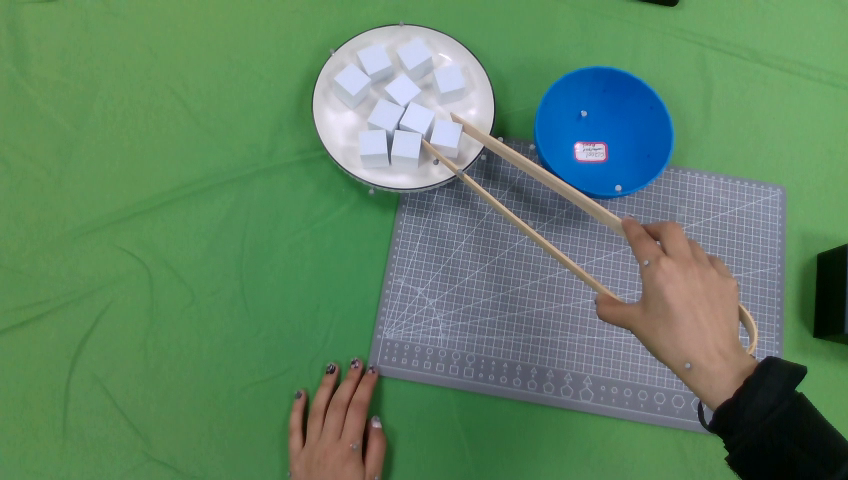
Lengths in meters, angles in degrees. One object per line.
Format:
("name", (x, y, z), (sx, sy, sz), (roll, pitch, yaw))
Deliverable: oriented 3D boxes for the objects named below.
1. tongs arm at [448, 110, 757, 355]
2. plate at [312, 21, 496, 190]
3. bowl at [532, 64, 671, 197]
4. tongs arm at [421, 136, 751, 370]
("tongs arm", (0.149, -0.029, 0.582), (0.028, 0.028, 0.383), (-42, 58, -10))
("plate", (-0.022, -0.152, 0.699), (0.208, 0.039, 0.206), (1, 75, -2))
("bowl", (0.188, -0.110, 0.680), (0.151, 0.077, 0.150), (1, 76, -3))
("tongs arm", (0.129, -0.009, 0.579), (0.051, 0.027, 0.381), (-41, 58, -5))
